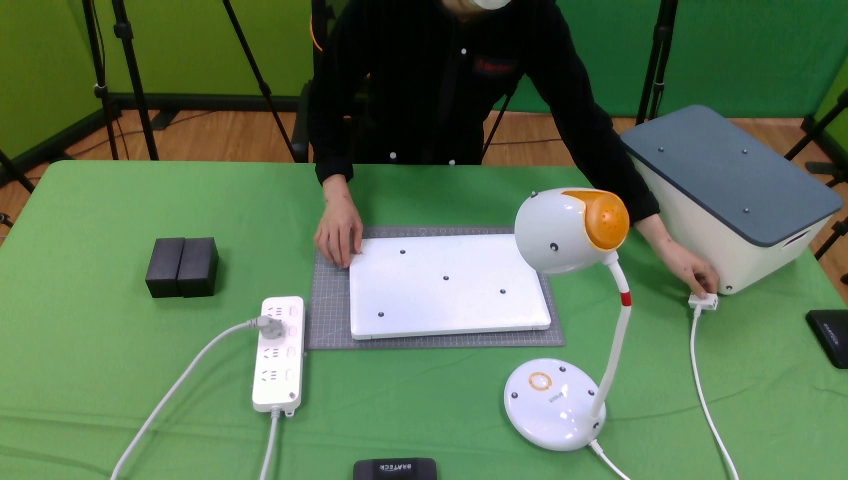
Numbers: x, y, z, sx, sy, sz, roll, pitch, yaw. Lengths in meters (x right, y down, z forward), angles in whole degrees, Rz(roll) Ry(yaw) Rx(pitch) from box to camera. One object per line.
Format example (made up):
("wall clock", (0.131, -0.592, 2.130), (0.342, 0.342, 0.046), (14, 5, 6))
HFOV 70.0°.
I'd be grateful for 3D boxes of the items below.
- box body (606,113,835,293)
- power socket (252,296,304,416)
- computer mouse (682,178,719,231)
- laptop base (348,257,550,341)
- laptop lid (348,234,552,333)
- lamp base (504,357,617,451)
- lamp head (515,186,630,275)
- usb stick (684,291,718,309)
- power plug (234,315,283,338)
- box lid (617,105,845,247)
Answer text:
("box body", (0.582, -0.089, 1.230), (0.254, 0.161, 0.361), (-22, 52, -23))
("power socket", (-0.238, 0.181, 0.997), (0.072, 0.033, 0.225), (-3, 47, -5))
("computer mouse", (0.596, -0.078, 1.290), (0.117, 0.041, 0.062), (56, 45, -7))
("laptop base", (0.038, 0.082, 1.124), (0.355, 0.023, 0.234), (-2, 43, -6))
("laptop lid", (0.039, 0.072, 1.117), (0.357, 0.013, 0.240), (-1, 44, -5))
("lamp base", (0.220, 0.211, 0.903), (0.160, 0.181, 0.178), (-33, 59, -30))
("lamp head", (0.188, -0.013, 0.728), (0.112, 0.112, 0.122), (-25, 9, -25))
("usb stick", (0.508, 0.110, 1.120), (0.059, 0.021, 0.027), (5, 55, 46))
("power plug", (-0.269, 0.143, 1.000), (0.072, 0.053, 0.035), (4, 47, 3))
("box lid", (0.586, -0.138, 1.176), (0.263, 0.015, 0.369), (-22, 51, -23))
